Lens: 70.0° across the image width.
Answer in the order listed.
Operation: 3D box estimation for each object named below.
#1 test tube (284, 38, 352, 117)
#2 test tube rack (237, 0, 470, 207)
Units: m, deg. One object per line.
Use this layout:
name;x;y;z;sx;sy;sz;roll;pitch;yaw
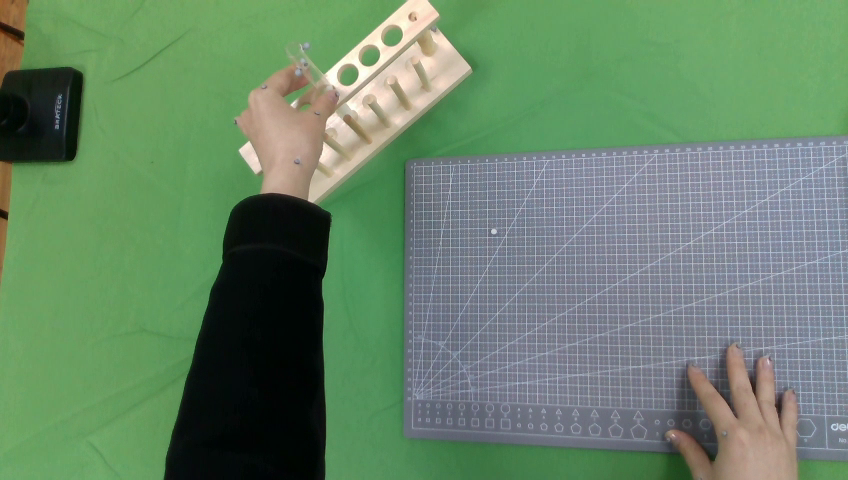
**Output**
test tube;-0.101;-0.155;0.598;0.017;0.151;0.017;-2;78;11
test tube rack;-0.071;-0.142;0.641;0.242;0.085;0.066;-39;78;7
